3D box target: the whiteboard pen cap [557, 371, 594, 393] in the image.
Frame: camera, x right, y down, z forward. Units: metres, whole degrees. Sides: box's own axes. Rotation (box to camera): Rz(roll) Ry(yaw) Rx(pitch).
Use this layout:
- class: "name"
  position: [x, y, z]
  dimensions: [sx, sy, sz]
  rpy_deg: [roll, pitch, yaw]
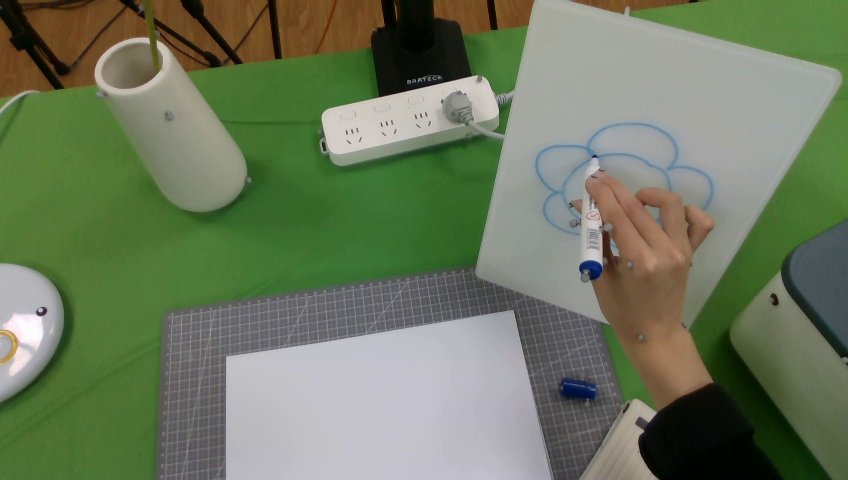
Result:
- class: "whiteboard pen cap"
  position: [0.147, 0.138, 0.587]
  dimensions: [0.033, 0.018, 0.018]
  rpy_deg: [9, 64, 4]

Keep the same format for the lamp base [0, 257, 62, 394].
- class: "lamp base"
  position: [-0.474, 0.051, 0.563]
  dimensions: [0.178, 0.182, 0.160]
  rpy_deg: [21, 66, 16]

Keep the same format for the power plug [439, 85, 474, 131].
- class: "power plug"
  position: [0.037, -0.146, 0.701]
  dimensions: [0.035, 0.053, 0.072]
  rpy_deg: [-4, 70, 0]

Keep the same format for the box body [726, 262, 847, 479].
- class: "box body"
  position: [0.472, 0.136, 0.499]
  dimensions: [0.254, 0.161, 0.360]
  rpy_deg: [-25, 65, -10]

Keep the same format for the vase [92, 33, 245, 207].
- class: "vase"
  position: [-0.260, -0.117, 0.629]
  dimensions: [0.098, 0.201, 0.097]
  rpy_deg: [-1, 63, 3]

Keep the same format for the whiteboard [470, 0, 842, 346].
- class: "whiteboard"
  position: [0.190, -0.079, 0.570]
  dimensions: [0.216, 0.308, 0.143]
  rpy_deg: [20, 45, 12]

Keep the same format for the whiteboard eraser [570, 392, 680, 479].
- class: "whiteboard eraser"
  position: [0.177, 0.196, 0.544]
  dimensions: [0.055, 0.042, 0.112]
  rpy_deg: [34, 70, 18]

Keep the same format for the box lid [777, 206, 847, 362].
- class: "box lid"
  position: [0.468, 0.100, 0.433]
  dimensions: [0.263, 0.015, 0.368]
  rpy_deg: [-26, 66, -10]

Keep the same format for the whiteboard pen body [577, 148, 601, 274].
- class: "whiteboard pen body"
  position: [0.125, -0.028, 0.456]
  dimensions: [0.017, 0.017, 0.139]
  rpy_deg: [10, 45, 8]

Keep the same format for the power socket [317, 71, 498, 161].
- class: "power socket"
  position: [-0.019, -0.150, 0.730]
  dimensions: [0.227, 0.033, 0.071]
  rpy_deg: [-13, 65, -5]

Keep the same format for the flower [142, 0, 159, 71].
- class: "flower"
  position: [-0.242, -0.149, 0.553]
  dimensions: [0.038, 0.362, 0.044]
  rpy_deg: [39, 61, 1]
